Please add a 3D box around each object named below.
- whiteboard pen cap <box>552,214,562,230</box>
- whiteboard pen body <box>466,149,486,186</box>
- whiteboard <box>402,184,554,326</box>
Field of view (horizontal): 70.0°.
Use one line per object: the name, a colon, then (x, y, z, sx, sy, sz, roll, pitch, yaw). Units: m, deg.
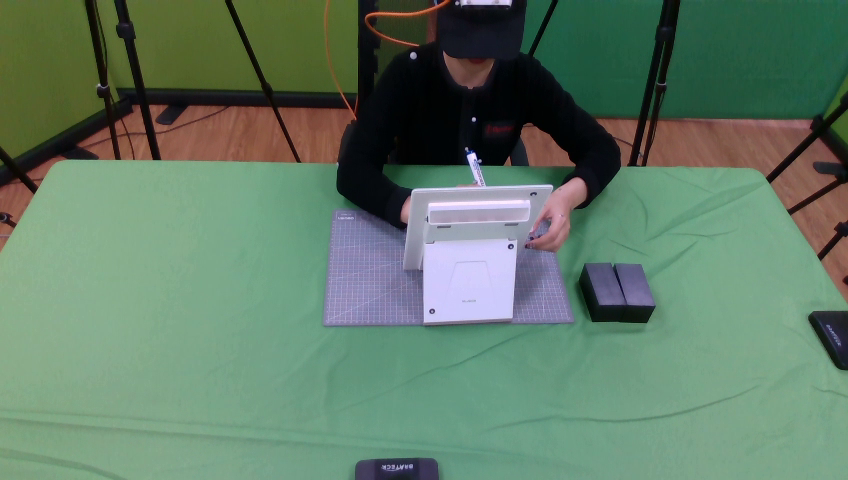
whiteboard pen cap: (0.275, -0.037, 1.260, 0.018, 0.018, 0.033, 1, 44, -2)
whiteboard pen body: (0.105, -0.096, 1.091, 0.017, 0.017, 0.141, -21, 94, -22)
whiteboard: (0.081, 0.044, 1.005, 0.217, 0.306, 0.143, -1, 66, -6)
